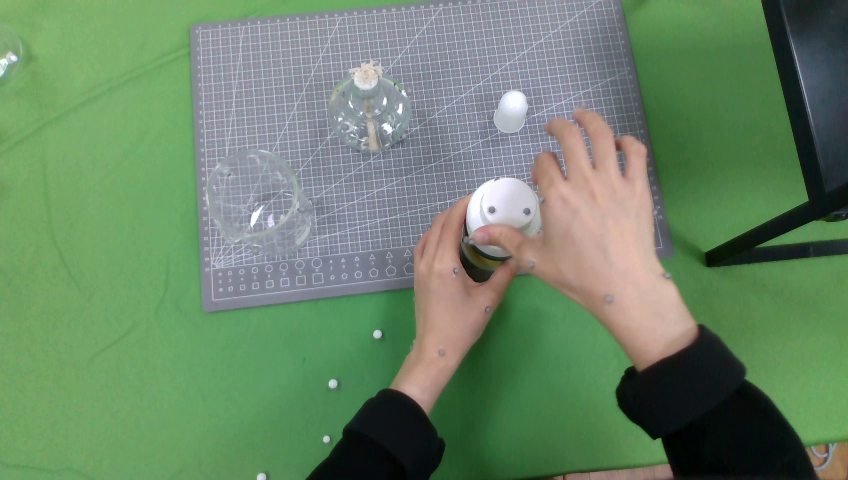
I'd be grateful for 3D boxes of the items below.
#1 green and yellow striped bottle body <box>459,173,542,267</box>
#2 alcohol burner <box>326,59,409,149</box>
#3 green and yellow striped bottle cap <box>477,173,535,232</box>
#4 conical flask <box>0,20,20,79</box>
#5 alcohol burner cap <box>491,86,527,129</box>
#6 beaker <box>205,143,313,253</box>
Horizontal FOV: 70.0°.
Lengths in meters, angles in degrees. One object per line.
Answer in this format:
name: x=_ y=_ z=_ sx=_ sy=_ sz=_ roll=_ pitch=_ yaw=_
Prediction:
green and yellow striped bottle body: x=0.065 y=-0.017 z=0.527 sx=0.063 sy=0.120 sz=0.063 roll=0 pitch=77 yaw=-1
alcohol burner: x=-0.052 y=-0.129 z=0.552 sx=0.078 sy=0.119 sz=0.077 roll=1 pitch=76 yaw=-2
green and yellow striped bottle cap: x=0.065 y=-0.030 z=0.475 sx=0.045 sy=0.020 sz=0.045 roll=0 pitch=79 yaw=-1
conical flask: x=-0.445 y=-0.202 z=0.558 sx=0.075 sy=0.122 sz=0.075 roll=0 pitch=77 yaw=-1
alcohol burner cap: x=0.084 y=-0.132 z=0.593 sx=0.034 sy=0.048 sz=0.033 roll=0 pitch=77 yaw=-1
beaker: x=-0.141 y=-0.029 z=0.537 sx=0.074 sy=0.100 sz=0.083 roll=21 pitch=78 yaw=4
